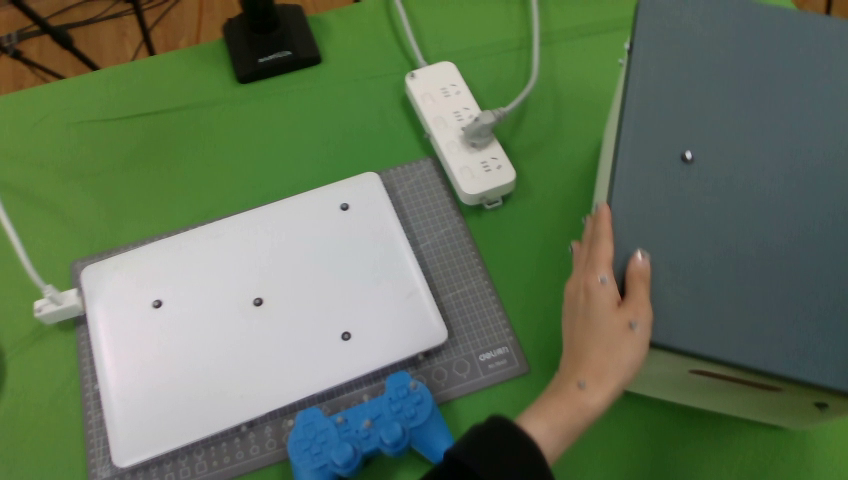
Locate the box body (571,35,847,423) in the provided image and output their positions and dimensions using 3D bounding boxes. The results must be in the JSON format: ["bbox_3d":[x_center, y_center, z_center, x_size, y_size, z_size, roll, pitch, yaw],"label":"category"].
[{"bbox_3d":[0.302,-0.019,0.623,0.254,0.161,0.361,12,63,7],"label":"box body"}]

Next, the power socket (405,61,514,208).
[{"bbox_3d":[0.042,-0.140,0.767,0.072,0.033,0.224,-19,63,-10],"label":"power socket"}]

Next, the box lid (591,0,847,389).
[{"bbox_3d":[0.293,-0.069,0.515,0.263,0.015,0.369,13,66,4],"label":"box lid"}]

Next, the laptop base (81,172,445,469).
[{"bbox_3d":[-0.180,0.072,0.667,0.355,0.023,0.233,-20,67,-10],"label":"laptop base"}]

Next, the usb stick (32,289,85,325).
[{"bbox_3d":[-0.388,0.071,0.657,0.059,0.027,0.021,-16,57,-11],"label":"usb stick"}]

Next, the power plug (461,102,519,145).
[{"bbox_3d":[0.081,-0.134,0.737,0.072,0.053,0.035,-9,61,-4],"label":"power plug"}]

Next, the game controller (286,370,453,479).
[{"bbox_3d":[-0.057,0.189,0.585,0.155,0.052,0.096,-20,61,-9],"label":"game controller"}]

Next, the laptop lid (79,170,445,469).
[{"bbox_3d":[-0.180,0.068,0.655,0.357,0.013,0.239,-19,66,-8],"label":"laptop lid"}]
